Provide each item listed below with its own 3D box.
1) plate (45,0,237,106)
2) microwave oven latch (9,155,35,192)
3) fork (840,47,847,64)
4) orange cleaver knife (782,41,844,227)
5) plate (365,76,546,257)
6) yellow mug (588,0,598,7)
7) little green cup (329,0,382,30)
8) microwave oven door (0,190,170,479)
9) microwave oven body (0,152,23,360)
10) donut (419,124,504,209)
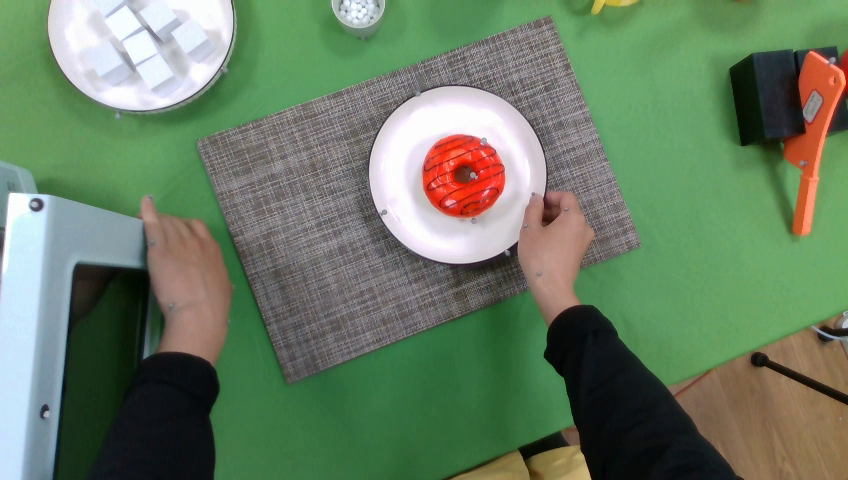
[{"bbox_3d":[-0.317,-0.252,0.695,0.208,0.039,0.207,0,87,-3],"label":"plate"},{"bbox_3d":[-0.442,-0.051,0.659,0.030,0.029,0.079,-16,89,-4],"label":"microwave oven latch"},{"bbox_3d":[0.599,-0.221,0.691,0.206,0.019,0.028,5,83,39],"label":"fork"},{"bbox_3d":[0.445,-0.120,0.709,0.012,0.076,0.213,-6,117,-1],"label":"orange cleaver knife"},{"bbox_3d":[0.036,-0.084,0.703,0.209,0.038,0.208,0,87,-3],"label":"plate"},{"bbox_3d":[0.228,-0.335,0.716,0.100,0.064,0.130,27,87,-1],"label":"yellow mug"},{"bbox_3d":[-0.078,-0.279,0.710,0.061,0.038,0.061,0,86,-3],"label":"little green cup"},{"bbox_3d":[-0.307,0.144,0.556,0.039,0.244,0.355,3,87,-2],"label":"microwave oven door"},{"bbox_3d":[-0.523,0.156,0.548,0.326,0.260,0.441,-18,89,-5],"label":"microwave oven body"},{"bbox_3d":[0.042,-0.084,0.692,0.099,0.048,0.099,0,87,0],"label":"donut"}]
